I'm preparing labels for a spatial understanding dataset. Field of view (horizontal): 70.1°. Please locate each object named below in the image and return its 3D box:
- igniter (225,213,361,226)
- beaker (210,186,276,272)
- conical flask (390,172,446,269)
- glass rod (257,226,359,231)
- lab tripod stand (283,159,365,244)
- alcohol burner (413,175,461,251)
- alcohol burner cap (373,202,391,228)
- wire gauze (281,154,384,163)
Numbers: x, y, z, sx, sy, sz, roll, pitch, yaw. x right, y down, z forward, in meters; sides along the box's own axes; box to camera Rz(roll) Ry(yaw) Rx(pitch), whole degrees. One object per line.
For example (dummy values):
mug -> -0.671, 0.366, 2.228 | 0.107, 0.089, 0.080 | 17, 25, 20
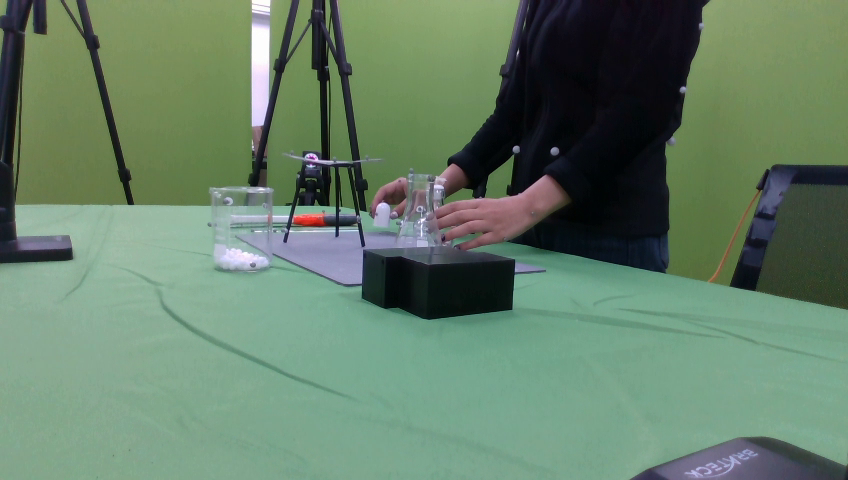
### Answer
igniter -> -0.257, -0.042, 1.221 | 0.278, 0.025, 0.057 | -2, -2, -32
beaker -> -0.224, -0.014, 0.738 | 0.084, 0.100, 0.074 | 4, 7, 16
conical flask -> -0.006, -0.027, 0.790 | 0.075, 0.122, 0.075 | 2, 7, 0
glass rod -> -0.216, -0.022, 1.151 | 0.201, 0.008, 0.008 | -2, 8, -28
lab tripod stand -> -0.151, -0.063, 0.983 | 0.148, 0.131, 0.148 | 4, 7, 0
alcohol burner -> 0.021, -0.043, 0.957 | 0.078, 0.119, 0.078 | 1, 6, 0
alcohol burner cap -> -0.079, -0.047, 1.137 | 0.034, 0.048, 0.034 | 4, 3, 0
wire gauze -> -0.146, -0.130, 0.977 | 0.124, 0.011, 0.122 | 9, 10, 41
